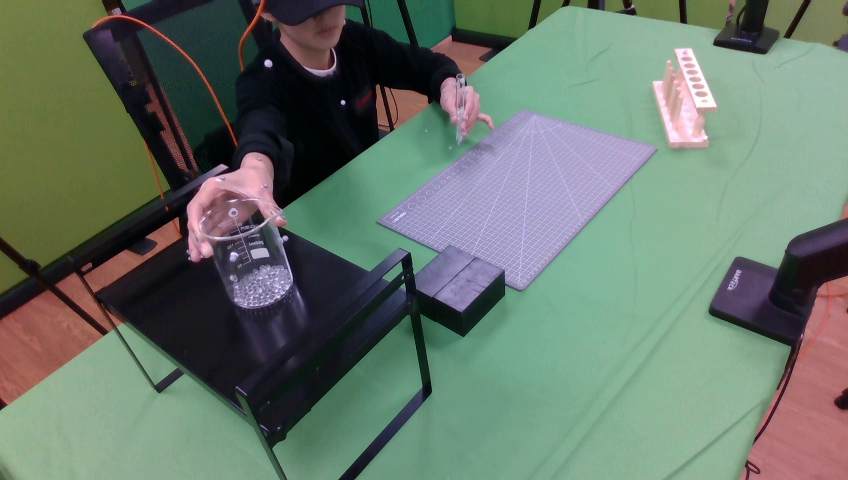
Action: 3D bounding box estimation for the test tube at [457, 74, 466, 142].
[{"bbox_3d":[0.069,-0.239,1.109,0.017,0.151,0.017,-1,51,2],"label":"test tube"}]

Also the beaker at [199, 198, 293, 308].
[{"bbox_3d":[-0.182,0.015,0.645,0.084,0.100,0.073,-16,37,-11],"label":"beaker"}]

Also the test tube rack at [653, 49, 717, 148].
[{"bbox_3d":[0.502,-0.281,1.177,0.066,0.085,0.241,1,41,10],"label":"test tube rack"}]
